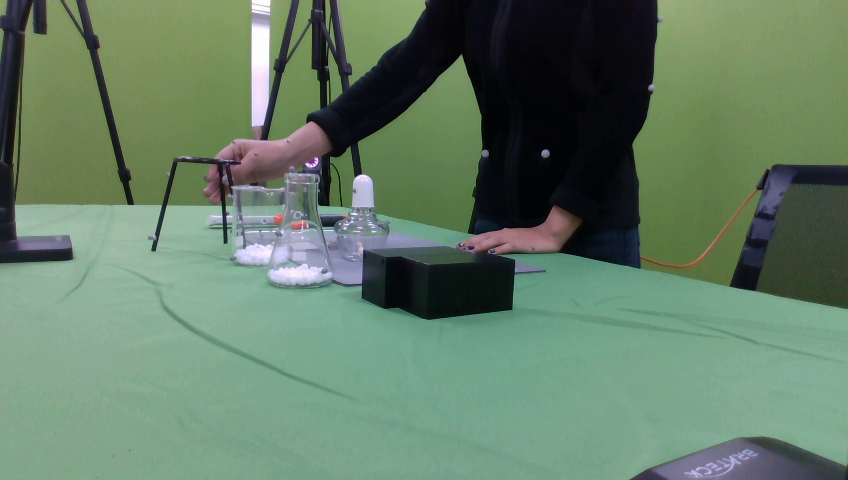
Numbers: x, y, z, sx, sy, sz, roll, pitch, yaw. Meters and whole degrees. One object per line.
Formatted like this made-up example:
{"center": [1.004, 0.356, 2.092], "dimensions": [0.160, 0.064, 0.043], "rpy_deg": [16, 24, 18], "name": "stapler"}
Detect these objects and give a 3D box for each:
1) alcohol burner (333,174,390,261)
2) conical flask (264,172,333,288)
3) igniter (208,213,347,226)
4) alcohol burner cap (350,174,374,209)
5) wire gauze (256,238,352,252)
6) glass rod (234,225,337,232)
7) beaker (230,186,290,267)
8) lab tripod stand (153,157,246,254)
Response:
{"center": [-0.085, -0.031, 0.832], "dimensions": [0.078, 0.119, 0.078], "rpy_deg": [4, 5, 0], "name": "alcohol burner"}
{"center": [-0.136, -0.013, 0.660], "dimensions": [0.075, 0.122, 0.075], "rpy_deg": [2, 7, 0], "name": "conical flask"}
{"center": [-0.283, -0.040, 1.200], "dimensions": [0.278, 0.025, 0.057], "rpy_deg": [-2, -2, -34], "name": "igniter"}
{"center": [-0.085, -0.067, 0.829], "dimensions": [0.034, 0.048, 0.034], "rpy_deg": [0, 2, 0], "name": "alcohol burner cap"}
{"center": [-0.188, 0.004, 0.940], "dimensions": [0.122, 0.011, 0.124], "rpy_deg": [-2, 6, -34], "name": "wire gauze"}
{"center": [-0.255, -0.022, 1.136], "dimensions": [0.201, 0.008, 0.008], "rpy_deg": [-3, 9, -33], "name": "glass rod"}
{"center": [-0.209, -0.019, 0.778], "dimensions": [0.074, 0.100, 0.084], "rpy_deg": [3, 7, 4], "name": "beaker"}
{"center": [-0.305, -0.051, 0.865], "dimensions": [0.148, 0.131, 0.148], "rpy_deg": [4, 7, 0], "name": "lab tripod stand"}
